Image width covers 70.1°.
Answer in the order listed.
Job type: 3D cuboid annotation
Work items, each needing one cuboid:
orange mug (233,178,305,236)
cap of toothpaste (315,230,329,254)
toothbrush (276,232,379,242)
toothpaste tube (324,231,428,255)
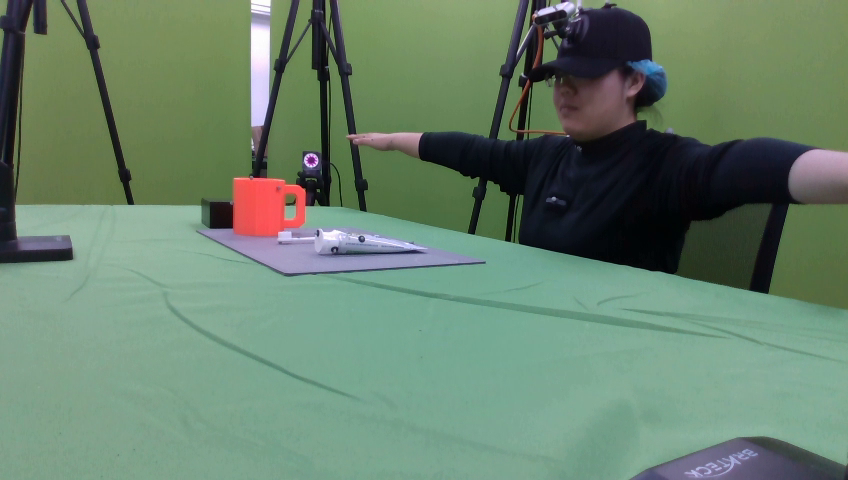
[{"bbox_3d":[-0.273,-0.061,1.067,0.127,0.101,0.083,-5,10,-24],"label":"orange mug"},{"bbox_3d":[-0.144,0.003,0.854,0.011,0.037,0.037,2,6,-30],"label":"cap of toothpaste"},{"bbox_3d":[-0.153,-0.005,0.990,0.183,0.016,0.014,-1,-6,-33],"label":"toothbrush"},{"bbox_3d":[-0.076,0.006,0.893,0.166,0.034,0.055,1,10,-32],"label":"toothpaste tube"}]
